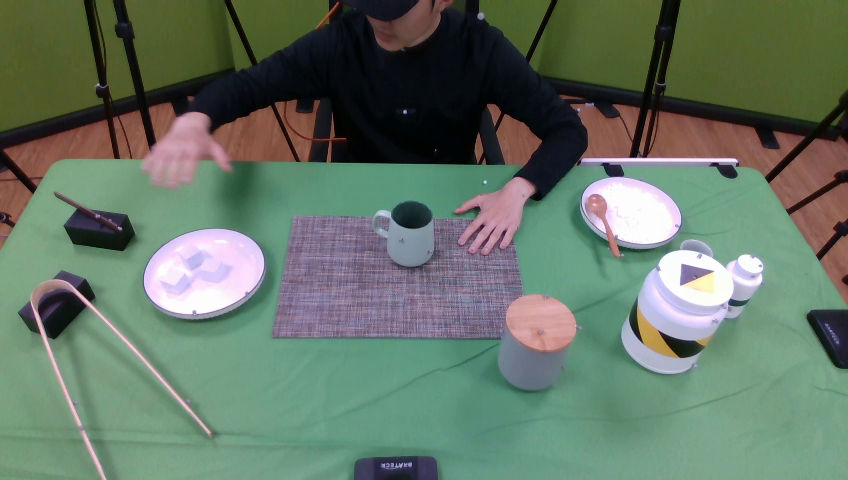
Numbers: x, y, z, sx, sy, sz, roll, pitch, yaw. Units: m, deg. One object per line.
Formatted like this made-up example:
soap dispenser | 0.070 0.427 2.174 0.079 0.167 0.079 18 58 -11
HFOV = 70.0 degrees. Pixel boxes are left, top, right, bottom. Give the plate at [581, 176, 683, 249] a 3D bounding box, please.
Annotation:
plate | 0.430 -0.054 1.267 0.209 0.038 0.208 2 46 -2

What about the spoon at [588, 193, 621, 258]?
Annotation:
spoon | 0.367 -0.032 1.220 0.041 0.022 0.192 1 38 -1

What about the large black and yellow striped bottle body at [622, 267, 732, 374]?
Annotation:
large black and yellow striped bottle body | 0.415 0.119 0.997 0.131 0.185 0.130 2 46 -2

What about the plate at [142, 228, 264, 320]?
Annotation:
plate | -0.394 0.064 1.095 0.208 0.039 0.206 2 46 -2

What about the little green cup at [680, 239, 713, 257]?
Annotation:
little green cup | 0.530 0.033 1.189 0.061 0.039 0.061 2 48 -2

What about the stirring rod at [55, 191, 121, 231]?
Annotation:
stirring rod | -0.632 -0.055 1.139 0.175 0.014 0.006 24 50 19

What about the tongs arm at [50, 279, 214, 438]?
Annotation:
tongs arm | -0.459 0.178 0.949 0.386 0.028 0.028 37 60 17

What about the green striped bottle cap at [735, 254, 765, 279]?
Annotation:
green striped bottle cap | 0.566 0.046 1.051 0.044 0.020 0.044 0 45 0

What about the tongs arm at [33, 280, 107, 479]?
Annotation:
tongs arm | -0.517 0.214 0.910 0.051 0.026 0.383 -28 63 -27

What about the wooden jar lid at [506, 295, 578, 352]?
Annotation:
wooden jar lid | 0.179 0.130 0.925 0.108 0.021 0.107 2 43 -2

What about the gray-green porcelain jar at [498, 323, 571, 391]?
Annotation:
gray-green porcelain jar | 0.176 0.172 0.971 0.106 0.127 0.105 2 46 -2

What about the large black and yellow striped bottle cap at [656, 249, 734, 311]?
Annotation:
large black and yellow striped bottle cap | 0.419 0.061 0.938 0.115 0.019 0.114 2 47 -2

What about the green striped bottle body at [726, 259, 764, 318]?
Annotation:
green striped bottle body | 0.563 0.081 1.089 0.063 0.120 0.063 2 46 -2

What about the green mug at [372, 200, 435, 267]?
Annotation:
green mug | -0.040 -0.016 1.146 0.125 0.105 0.092 17 48 13
